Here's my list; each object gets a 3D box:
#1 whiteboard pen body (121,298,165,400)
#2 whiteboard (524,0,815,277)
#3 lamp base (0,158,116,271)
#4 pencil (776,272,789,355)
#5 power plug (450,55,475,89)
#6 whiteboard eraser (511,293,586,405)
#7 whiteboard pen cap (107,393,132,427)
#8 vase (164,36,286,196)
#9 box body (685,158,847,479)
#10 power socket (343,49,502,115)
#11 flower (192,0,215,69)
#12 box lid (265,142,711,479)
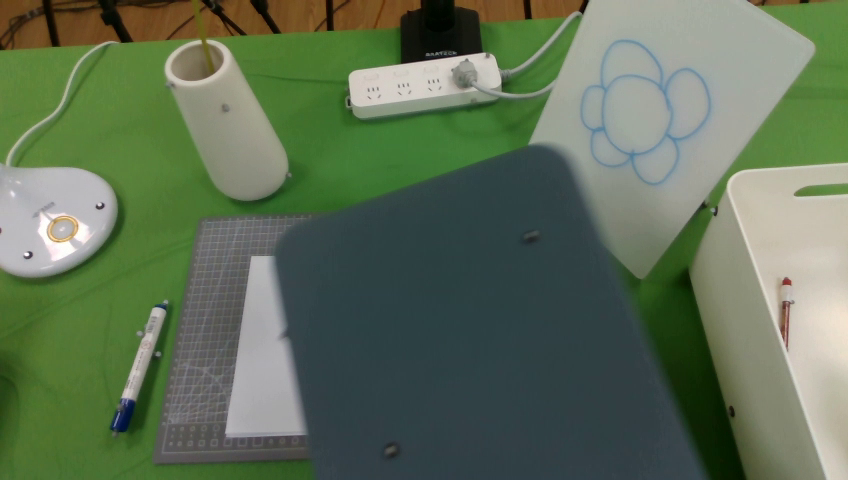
[{"bbox_3d":[-0.309,0.127,0.661,0.017,0.017,0.139,1,56,4],"label":"whiteboard pen body"},{"bbox_3d":[0.268,-0.150,0.668,0.144,0.307,0.215,-22,58,-31],"label":"whiteboard"},{"bbox_3d":[-0.484,-0.077,0.699,0.178,0.182,0.160,26,64,20],"label":"lamp base"},{"bbox_3d":[0.372,0.120,0.635,0.012,0.012,0.193,15,64,12],"label":"pencil"},{"bbox_3d":[0.051,-0.215,0.813,0.035,0.053,0.072,1,61,4],"label":"power plug"},{"bbox_3d":[0.129,0.114,0.635,0.055,0.042,0.111,-7,59,-3],"label":"whiteboard eraser"},{"bbox_3d":[-0.315,0.175,0.629,0.018,0.018,0.033,1,54,4],"label":"whiteboard pen cap"},{"bbox_3d":[-0.232,-0.138,0.712,0.098,0.202,0.097,-2,59,4],"label":"vase"},{"bbox_3d":[0.415,0.116,0.552,0.254,0.162,0.360,-3,59,1],"label":"box body"},{"bbox_3d":[-0.002,-0.221,0.846,0.227,0.033,0.071,-8,60,-2],"label":"power socket"},{"bbox_3d":[-0.230,-0.196,0.651,0.038,0.365,0.043,-13,41,-12],"label":"flower"},{"bbox_3d":[0.040,0.110,0.454,0.263,0.015,0.368,-19,70,-2],"label":"box lid"}]
